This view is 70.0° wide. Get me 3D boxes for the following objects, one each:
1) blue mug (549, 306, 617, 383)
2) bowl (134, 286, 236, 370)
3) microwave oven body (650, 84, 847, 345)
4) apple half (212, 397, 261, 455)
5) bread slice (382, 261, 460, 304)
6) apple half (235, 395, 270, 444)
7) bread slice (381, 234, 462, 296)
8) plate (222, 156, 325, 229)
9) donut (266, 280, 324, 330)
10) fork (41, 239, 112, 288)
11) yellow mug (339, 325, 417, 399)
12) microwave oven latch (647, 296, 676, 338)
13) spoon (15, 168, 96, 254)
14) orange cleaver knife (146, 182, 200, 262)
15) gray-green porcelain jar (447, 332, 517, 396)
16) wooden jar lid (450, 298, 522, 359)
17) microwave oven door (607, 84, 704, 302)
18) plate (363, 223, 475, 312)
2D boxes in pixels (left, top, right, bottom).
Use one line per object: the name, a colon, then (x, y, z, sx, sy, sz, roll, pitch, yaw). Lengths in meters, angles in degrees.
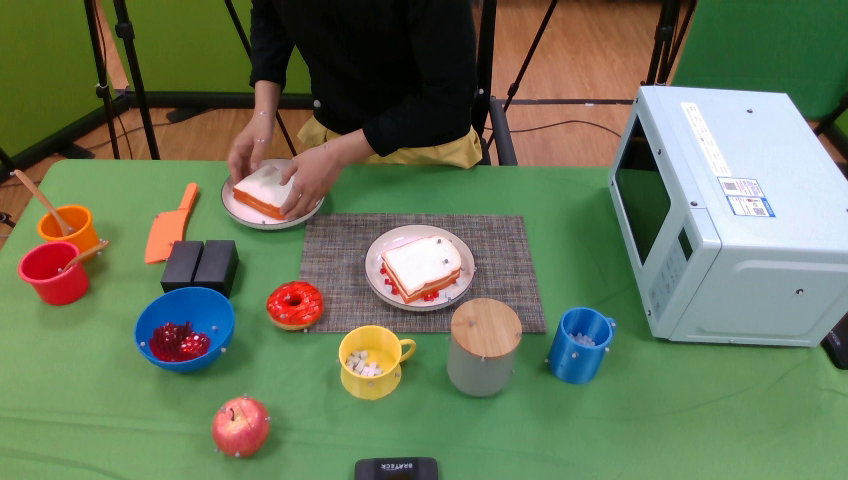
blue mug: (0.269, 0.167, 0.997, 0.116, 0.106, 0.082, -19, 50, -21)
bowl: (-0.377, 0.156, 0.981, 0.151, 0.077, 0.150, 2, 46, -2)
microwave oven body: (0.569, -0.054, 1.116, 0.326, 0.261, 0.439, 2, 46, -1)
apple half: (-0.276, 0.276, 0.877, 0.053, 0.075, 0.080, -29, 58, -21)
bread slice: (0.000, 0.055, 1.129, 0.131, 0.019, 0.104, -22, 51, -21)
apple half: (-0.245, 0.260, 0.893, 0.033, 0.082, 0.081, -29, 55, -22)
bread slice: (0.001, 0.038, 1.107, 0.134, 0.018, 0.106, -24, 56, -23)
plate: (-0.308, -0.094, 1.251, 0.209, 0.038, 0.208, 3, 46, -2)
donut: (-0.223, 0.112, 1.051, 0.099, 0.048, 0.098, 2, 46, -2)
fork: (-0.591, 0.040, 1.028, 0.207, 0.019, 0.028, -27, 36, 29)
yellow mug: (-0.072, 0.191, 0.978, 0.131, 0.064, 0.099, -17, 49, -20)
microwave oven latch: (0.413, 0.133, 1.060, 0.030, 0.029, 0.078, 4, 46, 1)
spoon: (-0.675, -0.052, 1.109, 0.021, 0.194, 0.041, -14, 24, 51)
orange cleaver knife: (-0.494, -0.039, 1.198, 0.077, 0.012, 0.210, -3, 48, 2)
gray-green porcelain jar: (0.091, 0.178, 0.960, 0.106, 0.127, 0.105, 2, 46, -2)
wooden jar lid: (0.093, 0.135, 0.914, 0.108, 0.021, 0.107, 2, 48, -3)
microwave oven door: (0.423, -0.096, 1.137, 0.039, 0.245, 0.353, 3, 46, -1)
plate: (-0.009, 0.054, 1.126, 0.208, 0.039, 0.206, 2, 46, -2)
